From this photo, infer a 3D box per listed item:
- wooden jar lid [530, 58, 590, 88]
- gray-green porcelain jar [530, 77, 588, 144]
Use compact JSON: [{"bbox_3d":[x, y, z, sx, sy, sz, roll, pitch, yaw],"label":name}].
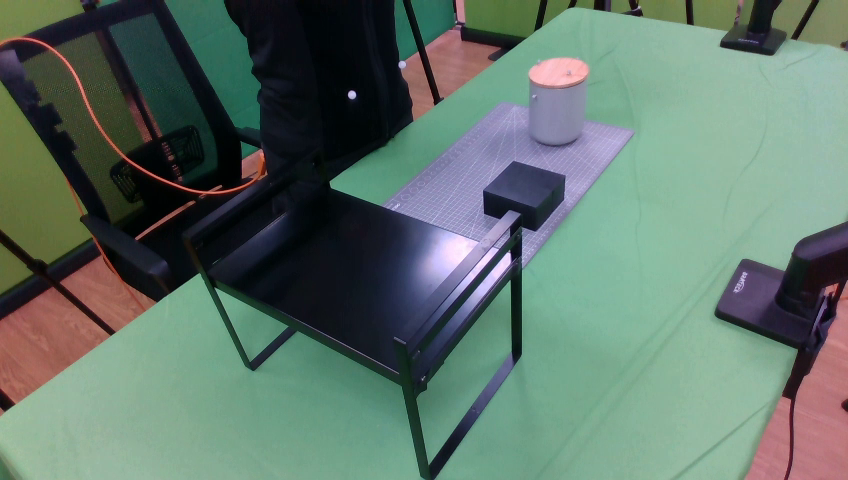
[{"bbox_3d":[0.249,-0.302,1.110,0.108,0.021,0.108,-6,40,6],"label":"wooden jar lid"},{"bbox_3d":[0.255,-0.255,1.151,0.106,0.127,0.105,-5,41,4],"label":"gray-green porcelain jar"}]
